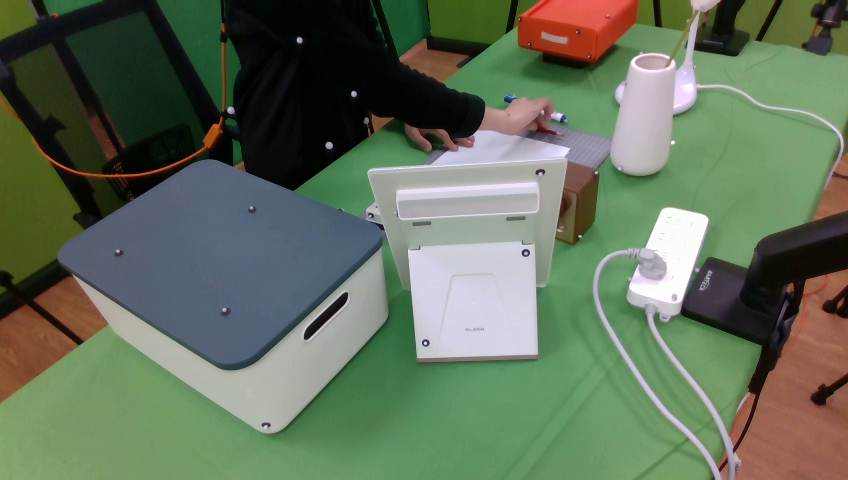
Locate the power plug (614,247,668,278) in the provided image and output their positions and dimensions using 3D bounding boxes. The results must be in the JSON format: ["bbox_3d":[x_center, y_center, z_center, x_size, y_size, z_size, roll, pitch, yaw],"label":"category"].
[{"bbox_3d":[0.306,0.031,0.851,0.072,0.053,0.035,24,49,33],"label":"power plug"}]

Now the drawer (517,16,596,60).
[{"bbox_3d":[0.353,-0.506,1.405,0.193,0.073,0.212,23,49,32],"label":"drawer"}]

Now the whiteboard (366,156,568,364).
[{"bbox_3d":[0.059,0.050,0.738,0.217,0.307,0.143,-2,60,6],"label":"whiteboard"}]

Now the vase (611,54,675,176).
[{"bbox_3d":[0.377,-0.209,1.031,0.098,0.201,0.097,-3,40,3],"label":"vase"}]

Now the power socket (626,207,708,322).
[{"bbox_3d":[0.359,0.026,0.886,0.072,0.033,0.227,16,46,26],"label":"power socket"}]

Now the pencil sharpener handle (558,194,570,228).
[{"bbox_3d":[0.195,-0.038,0.908,0.035,0.068,0.031,24,50,30],"label":"pencil sharpener handle"}]

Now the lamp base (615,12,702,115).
[{"bbox_3d":[0.484,-0.363,1.211,0.180,0.181,0.159,-15,41,-14],"label":"lamp base"}]

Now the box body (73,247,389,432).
[{"bbox_3d":[-0.255,0.065,0.827,0.361,0.161,0.255,21,48,29],"label":"box body"}]

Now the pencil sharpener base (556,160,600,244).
[{"bbox_3d":[0.228,-0.057,0.945,0.061,0.107,0.077,24,50,31],"label":"pencil sharpener base"}]

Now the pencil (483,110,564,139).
[{"bbox_3d":[0.199,-0.234,1.225,0.192,0.012,0.012,27,51,33],"label":"pencil"}]

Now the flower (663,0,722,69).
[{"bbox_3d":[0.379,-0.261,0.965,0.044,0.362,0.038,20,53,5],"label":"flower"}]

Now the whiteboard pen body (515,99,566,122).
[{"bbox_3d":[0.234,-0.273,1.262,0.139,0.017,0.017,28,51,29],"label":"whiteboard pen body"}]

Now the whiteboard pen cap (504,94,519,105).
[{"bbox_3d":[0.190,-0.299,1.292,0.033,0.018,0.018,30,52,28],"label":"whiteboard pen cap"}]

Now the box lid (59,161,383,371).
[{"bbox_3d":[-0.262,0.010,0.777,0.369,0.015,0.264,21,48,29],"label":"box lid"}]

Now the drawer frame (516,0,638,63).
[{"bbox_3d":[0.355,-0.508,1.411,0.200,0.083,0.214,23,51,32],"label":"drawer frame"}]

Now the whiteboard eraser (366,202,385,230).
[{"bbox_3d":[-0.038,-0.038,1.006,0.112,0.042,0.055,16,47,25],"label":"whiteboard eraser"}]
